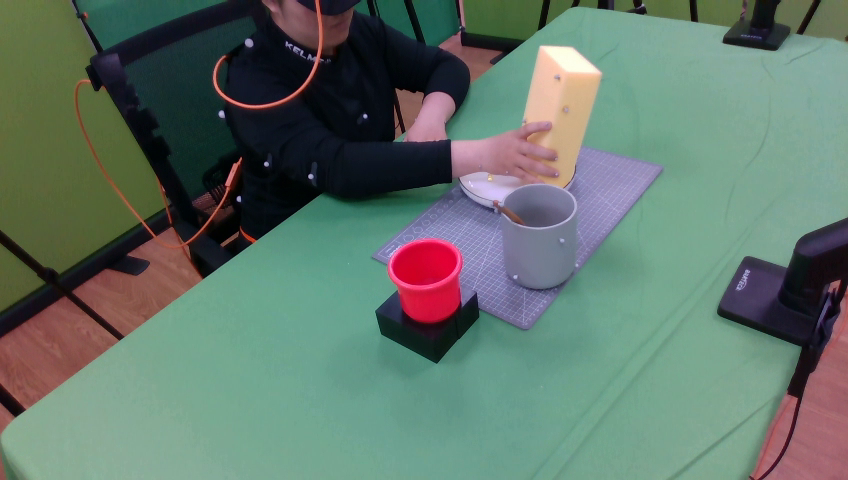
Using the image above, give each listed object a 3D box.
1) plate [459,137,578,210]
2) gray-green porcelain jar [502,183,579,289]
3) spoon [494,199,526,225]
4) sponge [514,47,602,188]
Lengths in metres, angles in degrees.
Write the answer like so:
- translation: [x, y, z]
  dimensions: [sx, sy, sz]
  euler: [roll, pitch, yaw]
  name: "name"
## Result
- translation: [0.166, -0.113, 1.069]
  dimensions: [0.207, 0.039, 0.206]
  euler: [-5, 40, 5]
  name: "plate"
- translation: [0.167, -0.001, 0.866]
  dimensions: [0.106, 0.127, 0.105]
  euler: [-5, 40, 5]
  name: "gray-green porcelain jar"
- translation: [0.135, -0.016, 0.831]
  dimensions: [0.021, 0.195, 0.041]
  euler: [-49, 53, -1]
  name: "spoon"
- translation: [0.215, -0.198, 1.000]
  dimensions: [0.061, 0.207, 0.117]
  euler: [-2, 34, -14]
  name: "sponge"
